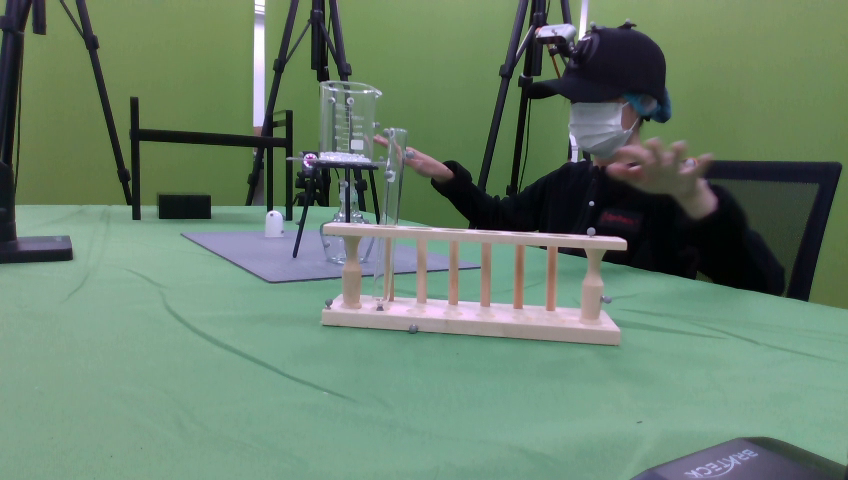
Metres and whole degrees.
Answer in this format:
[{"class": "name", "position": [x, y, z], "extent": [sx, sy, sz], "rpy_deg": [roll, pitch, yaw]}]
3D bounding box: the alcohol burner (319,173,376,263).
[{"class": "alcohol burner", "position": [-0.101, -0.030, 0.804], "extent": [0.078, 0.119, 0.078], "rpy_deg": [0, 6, 0]}]

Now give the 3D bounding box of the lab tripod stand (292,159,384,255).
[{"class": "lab tripod stand", "position": [-0.105, -0.039, 0.797], "extent": [0.148, 0.131, 0.148], "rpy_deg": [2, 5, 0]}]

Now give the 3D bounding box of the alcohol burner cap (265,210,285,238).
[{"class": "alcohol burner cap", "position": [-0.253, -0.027, 1.027], "extent": [0.034, 0.048, 0.034], "rpy_deg": [2, 9, 0]}]

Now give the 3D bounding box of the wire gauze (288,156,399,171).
[{"class": "wire gauze", "position": [-0.101, -0.103, 0.788], "extent": [0.121, 0.011, 0.125], "rpy_deg": [5, 4, 5]}]

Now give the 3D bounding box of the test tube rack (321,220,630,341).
[{"class": "test tube rack", "position": [0.041, 0.029, 0.512], "extent": [0.242, 0.085, 0.067], "rpy_deg": [3, 7, 5]}]

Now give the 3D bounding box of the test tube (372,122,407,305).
[{"class": "test tube", "position": [-0.029, -0.020, 0.493], "extent": [0.017, 0.150, 0.017], "rpy_deg": [6, 9, -1]}]

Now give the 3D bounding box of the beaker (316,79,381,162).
[{"class": "beaker", "position": [-0.098, -0.151, 0.778], "extent": [0.084, 0.100, 0.074], "rpy_deg": [4, 7, 6]}]
